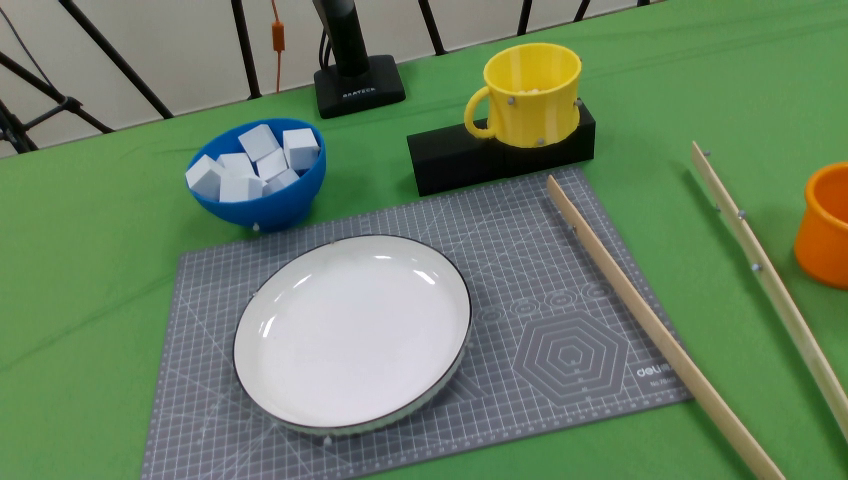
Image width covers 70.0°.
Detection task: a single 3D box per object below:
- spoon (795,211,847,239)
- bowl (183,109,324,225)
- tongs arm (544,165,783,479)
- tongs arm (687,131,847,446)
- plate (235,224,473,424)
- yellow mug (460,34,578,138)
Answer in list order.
[{"bbox_3d":[0.366,-0.019,0.456,0.041,0.193,0.021,-31,92,-13],"label":"spoon"},{"bbox_3d":[-0.176,-0.070,0.670,0.151,0.077,0.150,-6,45,7],"label":"bowl"},{"bbox_3d":[0.190,0.056,0.503,0.028,0.028,0.383,-16,46,-10],"label":"tongs arm"},{"bbox_3d":[0.270,0.037,0.503,0.051,0.027,0.380,-8,47,2],"label":"tongs arm"},{"bbox_3d":[-0.058,0.070,0.533,0.207,0.039,0.205,-6,46,6],"label":"plate"},{"bbox_3d":[0.097,-0.157,0.635,0.131,0.064,0.099,-25,46,-11],"label":"yellow mug"}]
